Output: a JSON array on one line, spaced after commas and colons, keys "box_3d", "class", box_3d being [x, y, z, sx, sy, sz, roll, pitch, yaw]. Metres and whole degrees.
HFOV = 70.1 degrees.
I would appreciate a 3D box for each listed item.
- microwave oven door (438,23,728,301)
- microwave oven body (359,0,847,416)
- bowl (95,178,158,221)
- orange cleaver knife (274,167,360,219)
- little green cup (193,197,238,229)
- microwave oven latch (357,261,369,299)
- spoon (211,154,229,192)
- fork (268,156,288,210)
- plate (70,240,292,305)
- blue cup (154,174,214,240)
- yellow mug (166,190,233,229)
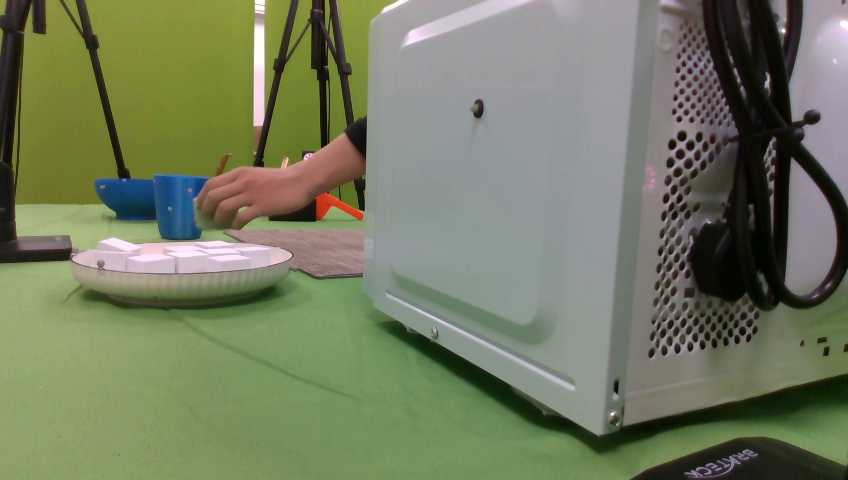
[{"box_3d": [0.181, -0.072, 0.620, 0.358, 0.243, 0.039, -2, 8, -29], "class": "microwave oven door"}, {"box_3d": [0.211, -0.047, 0.474, 0.444, 0.260, 0.324, -1, 7, -28], "class": "microwave oven body"}, {"box_3d": [-0.576, -0.081, 1.217, 0.151, 0.077, 0.151, 3, 8, 0], "class": "bowl"}, {"box_3d": [-0.238, -0.090, 1.381, 0.212, 0.077, 0.012, 31, 0, -19], "class": "orange cleaver knife"}, {"box_3d": [-0.292, -0.039, 0.851, 0.061, 0.038, 0.061, 2, 12, 0], "class": "little green cup"}, {"box_3d": [-0.019, 0.034, 0.530, 0.079, 0.029, 0.030, 0, 7, -25], "class": "microwave oven latch"}, {"box_3d": [-0.431, -0.115, 1.253, 0.042, 0.193, 0.021, -4, 54, -33], "class": "spoon"}, {"box_3d": [-0.360, -0.144, 1.508, 0.028, 0.018, 0.207, 2, 49, 0], "class": "fork"}, {"box_3d": [-0.242, 0.031, 0.618, 0.208, 0.039, 0.207, 2, 8, 0], "class": "plate"}, {"box_3d": [-0.391, -0.053, 0.978, 0.093, 0.100, 0.092, 3, 6, 0], "class": "blue cup"}, {"box_3d": [-0.415, -0.057, 1.131, 0.130, 0.064, 0.100, 6, 8, 16], "class": "yellow mug"}]
